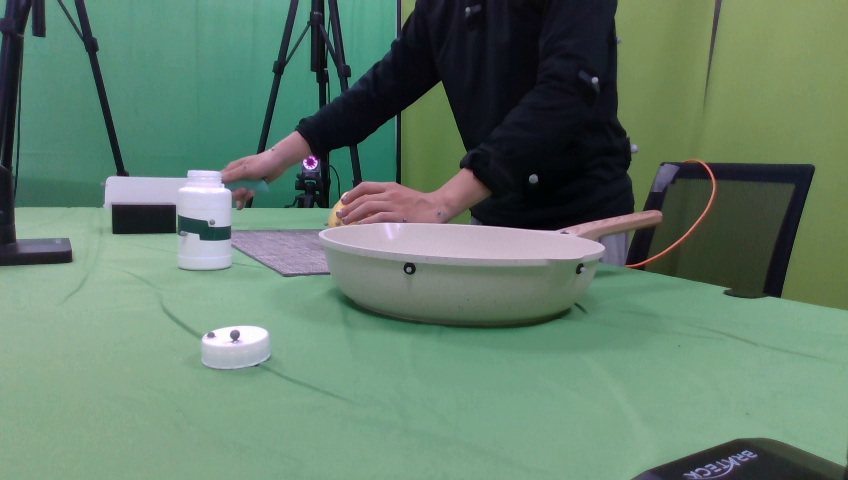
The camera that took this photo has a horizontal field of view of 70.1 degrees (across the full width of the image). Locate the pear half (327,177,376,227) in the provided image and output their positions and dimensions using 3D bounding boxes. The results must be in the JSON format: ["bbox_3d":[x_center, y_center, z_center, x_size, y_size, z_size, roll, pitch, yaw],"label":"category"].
[{"bbox_3d":[-0.110,-0.042,0.942,0.077,0.110,0.055,-6,11,-25],"label":"pear half"}]

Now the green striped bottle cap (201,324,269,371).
[{"bbox_3d":[-0.129,0.073,0.415,0.044,0.020,0.044,2,8,0],"label":"green striped bottle cap"}]

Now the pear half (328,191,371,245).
[{"bbox_3d":[-0.124,-0.037,0.976,0.071,0.088,0.031,-6,11,-25],"label":"pear half"}]

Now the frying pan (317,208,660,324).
[{"bbox_3d":[0.121,0.006,0.691,0.490,0.102,0.305,-12,15,-33],"label":"frying pan"}]

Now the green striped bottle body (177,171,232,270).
[{"bbox_3d":[-0.273,-0.026,0.752,0.063,0.119,0.063,2,7,0],"label":"green striped bottle body"}]

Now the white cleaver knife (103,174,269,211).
[{"bbox_3d":[-0.433,-0.088,1.120,0.288,0.066,0.021,-4,12,-27],"label":"white cleaver knife"}]
